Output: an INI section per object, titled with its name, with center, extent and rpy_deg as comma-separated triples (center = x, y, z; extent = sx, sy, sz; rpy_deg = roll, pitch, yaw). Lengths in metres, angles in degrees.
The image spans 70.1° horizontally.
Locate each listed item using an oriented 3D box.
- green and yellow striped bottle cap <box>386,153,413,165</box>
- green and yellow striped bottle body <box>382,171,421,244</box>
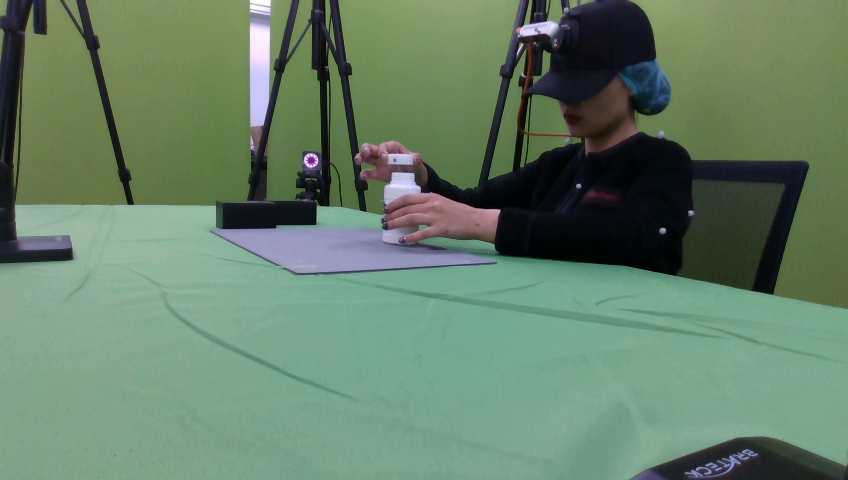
[green and yellow striped bottle cap]
center = -0.041, -0.136, 1.016
extent = 0.045, 0.020, 0.045
rpy_deg = 2, 5, 0
[green and yellow striped bottle body]
center = -0.037, -0.055, 1.019
extent = 0.063, 0.119, 0.063
rpy_deg = 3, 8, 0
